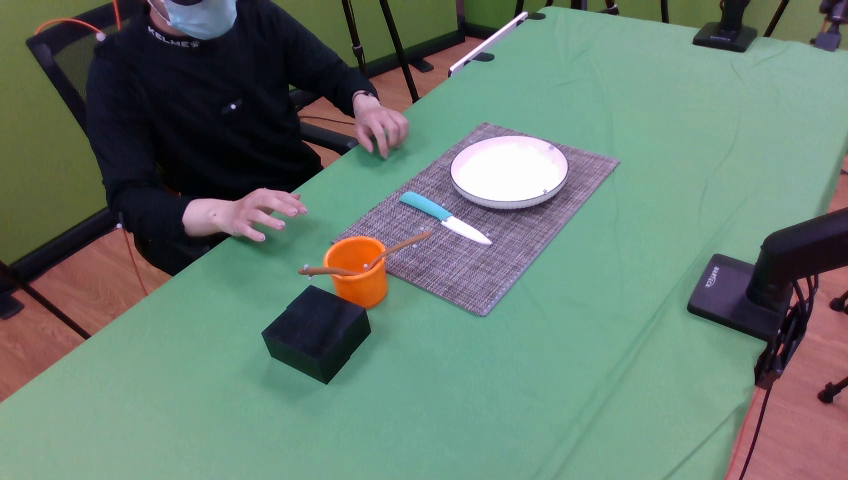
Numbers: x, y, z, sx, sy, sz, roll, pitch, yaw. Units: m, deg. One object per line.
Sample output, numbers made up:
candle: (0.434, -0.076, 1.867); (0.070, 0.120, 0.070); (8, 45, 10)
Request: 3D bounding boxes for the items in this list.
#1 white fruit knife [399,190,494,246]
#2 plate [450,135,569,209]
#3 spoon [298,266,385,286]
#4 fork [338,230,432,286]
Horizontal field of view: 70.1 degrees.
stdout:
white fruit knife: (0.036, -0.038, 1.009); (0.205, 0.016, 0.027); (32, 84, 34)
plate: (0.149, -0.117, 1.066); (0.209, 0.038, 0.208); (-4, 41, 4)
spoon: (-0.112, 0.047, 0.826); (0.041, 0.195, 0.021); (-25, 71, 23)
fork: (-0.058, 0.028, 0.846); (0.206, 0.018, 0.028); (-34, 5, 43)
